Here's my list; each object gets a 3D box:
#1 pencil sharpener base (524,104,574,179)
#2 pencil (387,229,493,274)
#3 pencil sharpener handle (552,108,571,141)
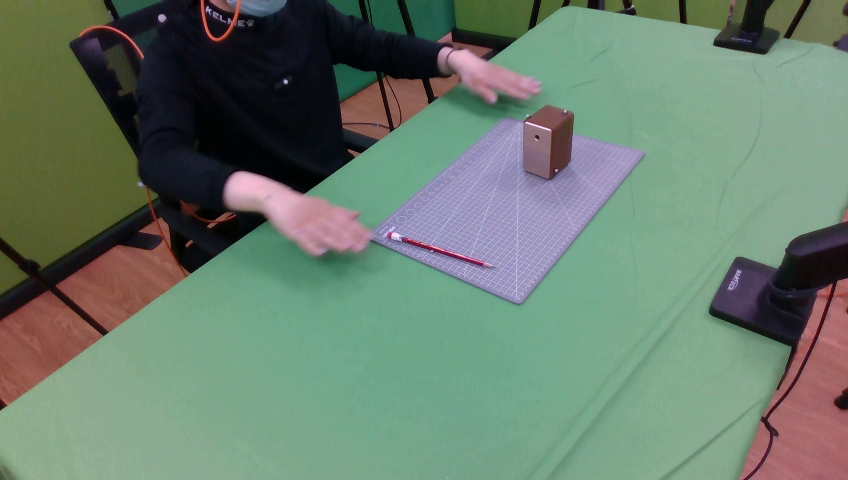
[{"bbox_3d":[0.222,-0.176,1.071,0.061,0.107,0.077,26,50,33],"label":"pencil sharpener base"},{"bbox_3d":[0.022,0.018,0.951,0.193,0.012,0.012,22,48,24],"label":"pencil"},{"bbox_3d":[0.254,-0.212,1.091,0.035,0.068,0.031,27,51,32],"label":"pencil sharpener handle"}]
